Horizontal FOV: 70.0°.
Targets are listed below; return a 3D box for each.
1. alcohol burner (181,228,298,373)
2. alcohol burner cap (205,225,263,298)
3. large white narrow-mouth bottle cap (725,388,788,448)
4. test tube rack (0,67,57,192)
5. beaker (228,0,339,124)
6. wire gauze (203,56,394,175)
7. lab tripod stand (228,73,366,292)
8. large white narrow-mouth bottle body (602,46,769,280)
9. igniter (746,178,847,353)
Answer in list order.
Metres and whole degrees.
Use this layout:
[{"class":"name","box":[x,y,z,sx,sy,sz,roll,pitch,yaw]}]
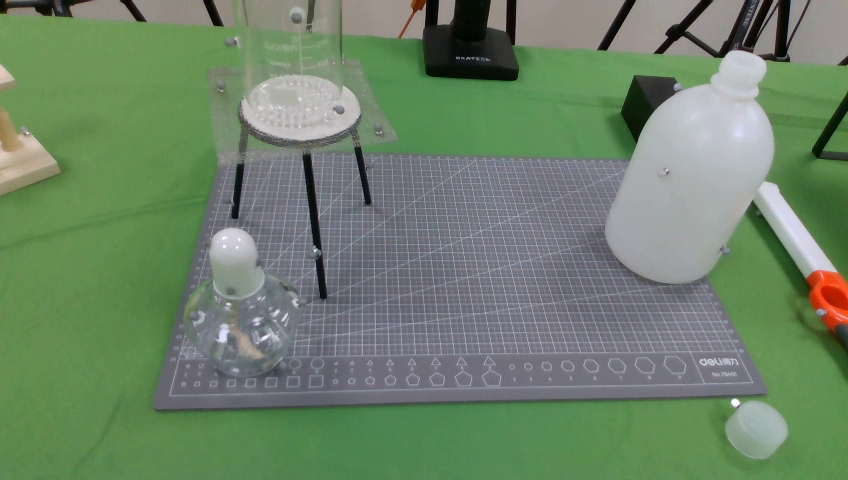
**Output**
[{"class":"alcohol burner","box":[-0.126,0.036,0.411,0.078,0.120,0.077,5,43,-4]},{"class":"alcohol burner cap","box":[-0.122,0.012,0.384,0.034,0.048,0.033,3,50,-4]},{"class":"large white narrow-mouth bottle cap","box":[0.239,0.128,0.436,0.038,0.024,0.037,3,44,-3]},{"class":"test tube rack","box":[-0.449,-0.059,0.489,0.066,0.086,0.242,38,52,27]},{"class":"beaker","box":[-0.096,-0.138,0.413,0.084,0.101,0.073,-4,47,-12]},{"class":"wire gauze","box":[-0.096,-0.100,0.446,0.122,0.011,0.123,-11,51,-15]},{"class":"lab tripod stand","box":[-0.098,-0.052,0.491,0.148,0.132,0.147,5,45,-5]},{"class":"large white narrow-mouth bottle body","box":[0.220,-0.063,0.500,0.102,0.196,0.101,3,44,-3]},{"class":"igniter","box":[0.355,0.037,0.541,0.057,0.025,0.273,9,43,-13]}]
